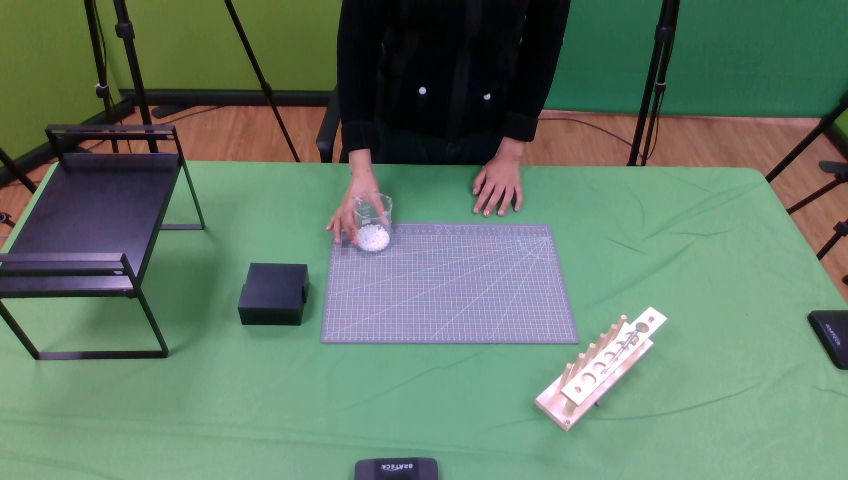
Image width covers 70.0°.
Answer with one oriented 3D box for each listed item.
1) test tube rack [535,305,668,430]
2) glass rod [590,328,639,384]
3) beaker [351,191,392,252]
[{"bbox_3d":[0.290,0.193,0.984,0.242,0.085,0.066,-32,56,-30],"label":"test tube rack"},{"bbox_3d":[0.279,0.182,0.902,0.008,0.200,0.008,5,52,-6],"label":"glass rod"},{"bbox_3d":[-0.097,-0.034,1.162,0.084,0.101,0.073,-29,55,-28],"label":"beaker"}]
